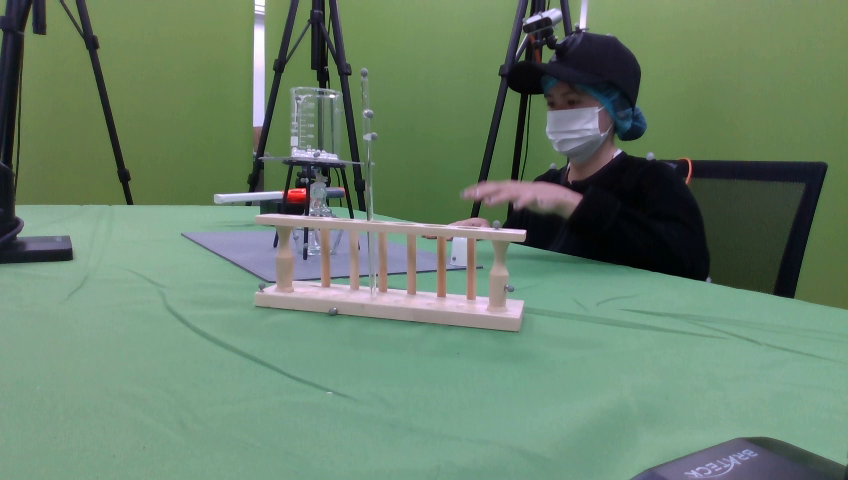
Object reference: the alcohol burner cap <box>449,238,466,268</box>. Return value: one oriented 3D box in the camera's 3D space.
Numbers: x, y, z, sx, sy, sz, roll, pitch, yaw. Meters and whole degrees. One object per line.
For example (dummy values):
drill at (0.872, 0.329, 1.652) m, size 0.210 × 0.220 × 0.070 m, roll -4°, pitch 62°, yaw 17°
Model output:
alcohol burner cap at (0.051, 0.015, 0.828) m, size 0.034 × 0.048 × 0.034 m, roll 2°, pitch 4°, yaw 0°

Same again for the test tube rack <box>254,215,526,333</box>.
test tube rack at (-0.030, 0.025, 0.558) m, size 0.242 × 0.085 × 0.067 m, roll 4°, pitch 7°, yaw 12°

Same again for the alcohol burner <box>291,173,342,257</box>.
alcohol burner at (-0.155, -0.037, 0.870) m, size 0.078 × 0.119 × 0.078 m, roll 1°, pitch 6°, yaw 0°

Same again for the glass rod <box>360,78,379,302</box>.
glass rod at (-0.047, -0.038, 0.526) m, size 0.008 × 0.199 × 0.008 m, roll -2°, pitch 14°, yaw 1°

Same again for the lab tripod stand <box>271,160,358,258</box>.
lab tripod stand at (-0.159, -0.048, 0.876) m, size 0.148 × 0.131 × 0.148 m, roll 3°, pitch 5°, yaw 0°

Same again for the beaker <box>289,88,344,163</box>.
beaker at (-0.157, -0.160, 0.862) m, size 0.083 × 0.100 × 0.074 m, roll 7°, pitch 7°, yaw 34°

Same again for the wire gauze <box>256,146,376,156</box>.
wire gauze at (-0.155, -0.128, 0.871) m, size 0.124 × 0.011 × 0.122 m, roll 2°, pitch 7°, yaw 36°

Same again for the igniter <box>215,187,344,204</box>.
igniter at (-0.290, -0.093, 1.256) m, size 0.278 × 0.025 × 0.057 m, roll -6°, pitch 11°, yaw -34°
